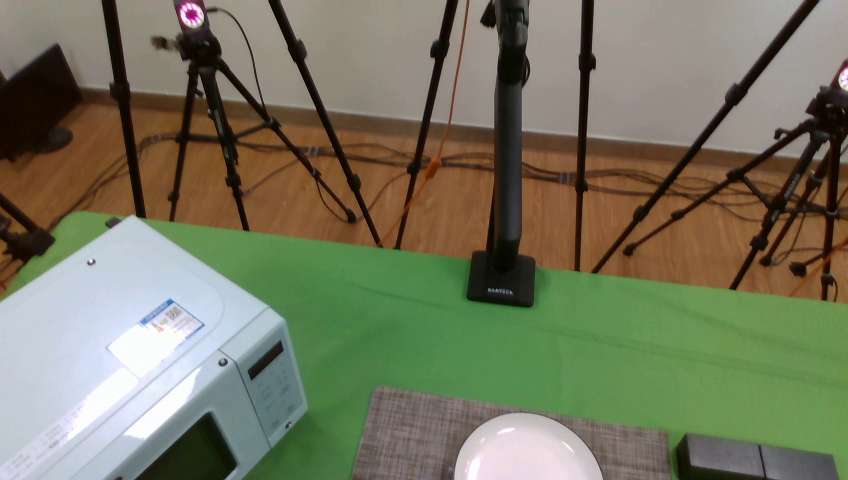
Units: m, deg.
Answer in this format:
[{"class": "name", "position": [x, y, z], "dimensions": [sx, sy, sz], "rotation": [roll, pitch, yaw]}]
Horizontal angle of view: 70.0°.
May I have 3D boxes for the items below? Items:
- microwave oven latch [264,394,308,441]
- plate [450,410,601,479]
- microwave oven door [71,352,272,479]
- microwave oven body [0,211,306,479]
[{"class": "microwave oven latch", "position": [-0.205, 0.254, 0.886], "dimensions": [0.030, 0.030, 0.079], "rotation": [31, 55, 23]}, {"class": "plate", "position": [0.139, 0.338, 0.837], "dimensions": [0.208, 0.039, 0.205], "rotation": [1, 48, -1]}, {"class": "microwave oven door", "position": [-0.335, 0.314, 0.691], "dimensions": [0.039, 0.246, 0.355], "rotation": [28, 53, 23]}, {"class": "microwave oven body", "position": [-0.428, 0.228, 0.773], "dimensions": [0.323, 0.262, 0.440], "rotation": [29, 54, 22]}]
